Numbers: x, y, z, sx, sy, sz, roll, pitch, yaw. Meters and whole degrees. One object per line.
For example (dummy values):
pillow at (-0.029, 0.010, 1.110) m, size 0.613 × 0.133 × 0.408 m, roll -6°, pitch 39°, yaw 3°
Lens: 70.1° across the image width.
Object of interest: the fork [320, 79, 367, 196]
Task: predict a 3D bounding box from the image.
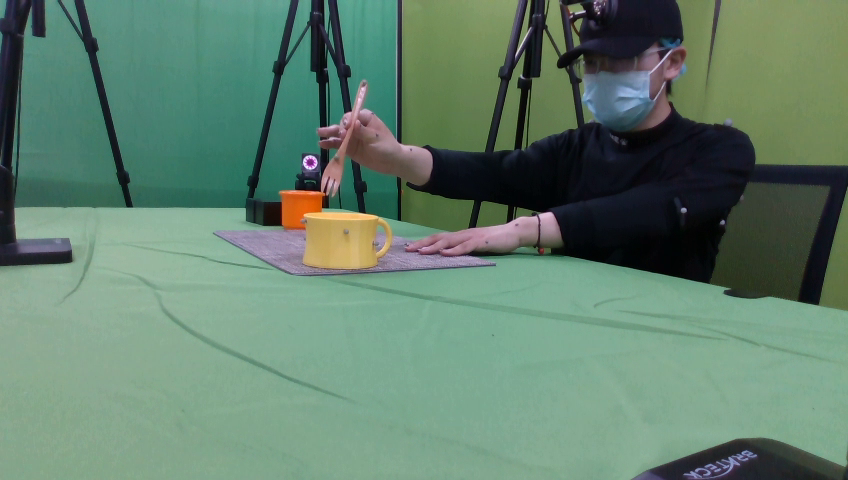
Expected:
fork at (-0.120, -0.160, 0.922) m, size 0.028 × 0.207 × 0.018 m, roll 23°, pitch -18°, yaw -20°

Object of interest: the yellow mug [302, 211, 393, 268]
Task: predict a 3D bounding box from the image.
yellow mug at (-0.098, -0.003, 0.810) m, size 0.131 × 0.064 × 0.099 m, roll -2°, pitch 8°, yaw -37°
